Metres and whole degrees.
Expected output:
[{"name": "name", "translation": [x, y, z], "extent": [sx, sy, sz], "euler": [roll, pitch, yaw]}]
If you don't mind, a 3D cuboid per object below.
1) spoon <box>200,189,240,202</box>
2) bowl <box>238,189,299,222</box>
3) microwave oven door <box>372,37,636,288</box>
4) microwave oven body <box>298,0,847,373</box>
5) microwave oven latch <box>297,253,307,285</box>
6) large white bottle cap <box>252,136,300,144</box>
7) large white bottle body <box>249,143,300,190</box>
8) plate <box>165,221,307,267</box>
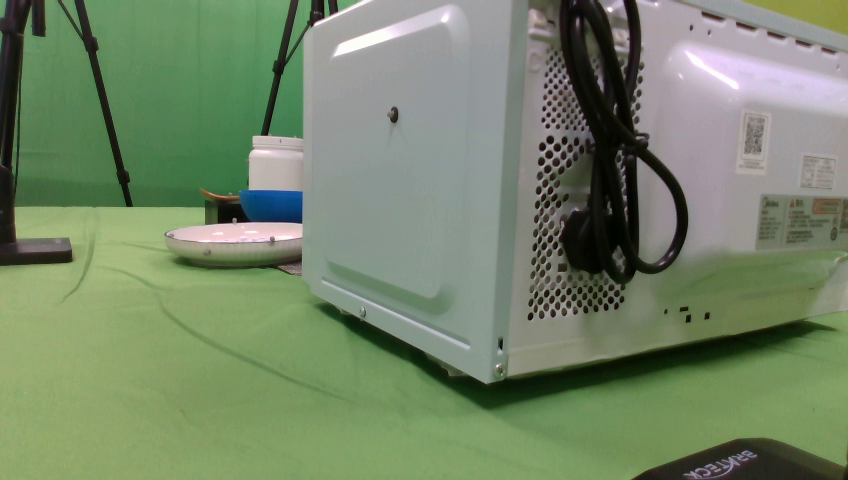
[{"name": "spoon", "translation": [-0.339, -0.080, 1.190], "extent": [0.194, 0.021, 0.041], "euler": [5, 1, -19]}, {"name": "bowl", "translation": [-0.245, -0.046, 1.053], "extent": [0.151, 0.077, 0.151], "euler": [3, 8, 0]}, {"name": "microwave oven door", "translation": [0.109, -0.080, 0.686], "extent": [0.358, 0.243, 0.039], "euler": [-2, 9, -33]}, {"name": "microwave oven body", "translation": [0.151, -0.055, 0.542], "extent": [0.444, 0.260, 0.324], "euler": [-2, 7, -33]}, {"name": "microwave oven latch", "translation": [-0.082, 0.027, 0.582], "extent": [0.079, 0.029, 0.030], "euler": [-1, 7, -32]}, {"name": "large white bottle cap", "translation": [-0.336, -0.228, 1.391], "extent": [0.115, 0.018, 0.115], "euler": [2, 6, 0]}, {"name": "large white bottle body", "translation": [-0.339, -0.144, 1.401], "extent": [0.131, 0.184, 0.130], "euler": [2, 7, 0]}, {"name": "plate", "translation": [-0.241, 0.004, 0.829], "extent": [0.209, 0.038, 0.209], "euler": [0, 9, 0]}]
